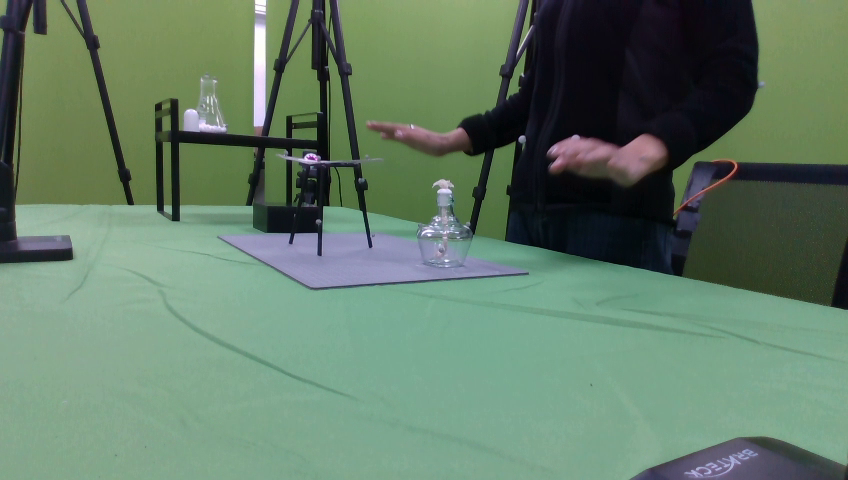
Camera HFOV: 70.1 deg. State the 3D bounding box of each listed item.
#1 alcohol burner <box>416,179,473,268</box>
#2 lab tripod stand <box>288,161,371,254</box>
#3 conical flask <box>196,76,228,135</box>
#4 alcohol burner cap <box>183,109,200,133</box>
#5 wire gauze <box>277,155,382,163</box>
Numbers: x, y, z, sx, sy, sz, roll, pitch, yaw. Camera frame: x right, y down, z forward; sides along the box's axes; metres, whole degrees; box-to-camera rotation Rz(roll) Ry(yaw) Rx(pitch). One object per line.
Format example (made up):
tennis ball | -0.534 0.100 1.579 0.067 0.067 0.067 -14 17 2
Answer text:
alcohol burner | 0.027 -0.022 0.816 0.078 0.119 0.078 0 7 0
lab tripod stand | -0.148 -0.052 0.908 0.148 0.131 0.148 1 8 0
conical flask | -0.465 -0.291 1.311 0.075 0.122 0.075 2 7 0
alcohol burner cap | -0.472 -0.241 1.229 0.034 0.048 0.034 4 7 0
wire gauze | -0.142 -0.118 0.899 0.122 0.011 0.124 -3 9 -36
